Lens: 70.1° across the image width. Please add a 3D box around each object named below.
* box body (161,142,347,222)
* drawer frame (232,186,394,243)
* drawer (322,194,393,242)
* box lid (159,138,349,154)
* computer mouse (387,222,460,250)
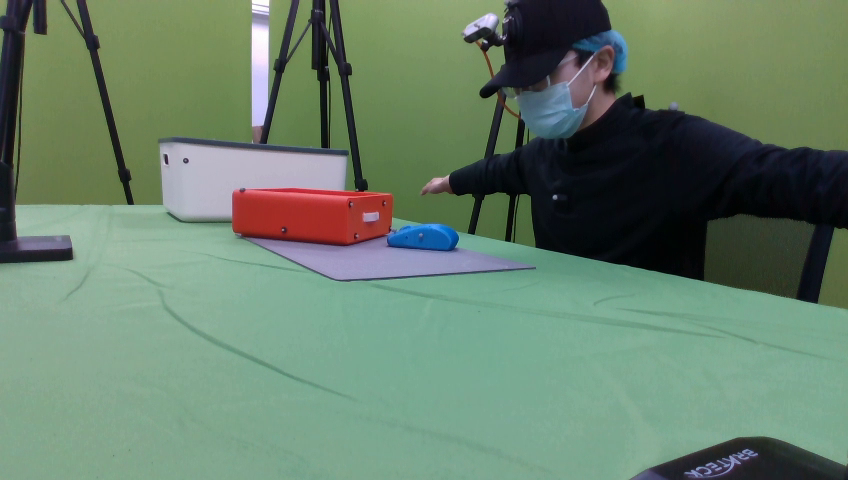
[{"bbox_3d":[-0.380,-0.132,1.352,0.366,0.160,0.253,-2,9,-30],"label":"box body"},{"bbox_3d":[-0.186,-0.049,1.060,0.213,0.082,0.202,4,8,17],"label":"drawer frame"},{"bbox_3d":[-0.184,-0.048,1.060,0.211,0.073,0.195,4,8,18],"label":"drawer"},{"bbox_3d":[-0.376,-0.206,1.344,0.373,0.015,0.262,-1,8,-30],"label":"box lid"},{"bbox_3d":[0.000,-0.008,0.978,0.117,0.041,0.063,0,8,14],"label":"computer mouse"}]
